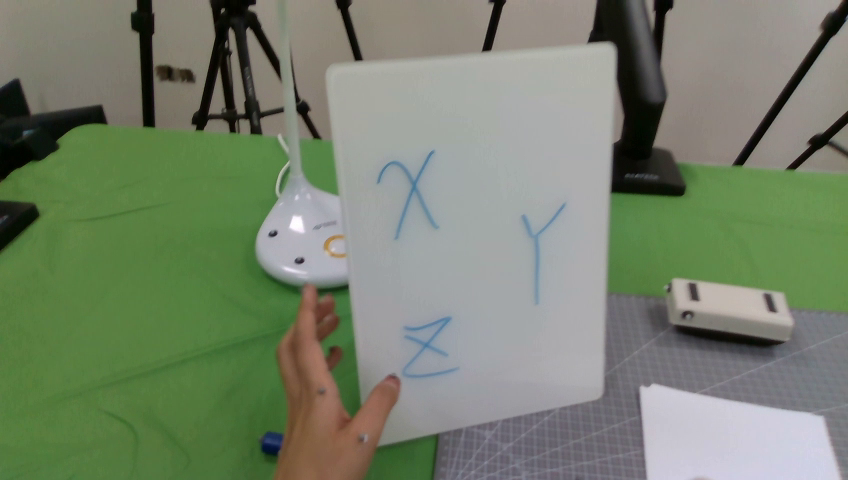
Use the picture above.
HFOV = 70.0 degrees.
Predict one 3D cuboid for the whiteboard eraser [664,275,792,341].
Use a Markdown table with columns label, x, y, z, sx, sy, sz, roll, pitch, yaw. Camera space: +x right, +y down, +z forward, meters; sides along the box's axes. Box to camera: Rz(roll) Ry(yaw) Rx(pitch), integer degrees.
| label | x | y | z | sx | sy | sz | roll | pitch | yaw |
| --- | --- | --- | --- | --- | --- | --- | --- | --- | --- |
| whiteboard eraser | 0.304 | 0.069 | 0.613 | 0.112 | 0.042 | 0.055 | 9 | 38 | 9 |

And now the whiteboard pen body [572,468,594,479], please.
| label | x | y | z | sx | sy | sz | roll | pitch | yaw |
| --- | --- | --- | --- | --- | --- | --- | --- | --- | --- |
| whiteboard pen body | 0.120 | 0.158 | 0.274 | 0.017 | 0.017 | 0.139 | -26 | 54 | -32 |

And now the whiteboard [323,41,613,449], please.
| label | x | y | z | sx | sy | sz | roll | pitch | yaw |
| --- | --- | --- | --- | --- | --- | --- | --- | --- | --- |
| whiteboard | 0.033 | -0.007 | 0.536 | 0.218 | 0.307 | 0.142 | -8 | 18 | -11 |

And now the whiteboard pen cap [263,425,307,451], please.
| label | x | y | z | sx | sy | sz | roll | pitch | yaw |
| --- | --- | --- | --- | --- | --- | --- | --- | --- | --- |
| whiteboard pen cap | -0.113 | 0.162 | 0.495 | 0.033 | 0.018 | 0.018 | 6 | 37 | 7 |

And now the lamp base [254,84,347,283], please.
| label | x | y | z | sx | sy | sz | roll | pitch | yaw |
| --- | --- | --- | --- | --- | --- | --- | --- | --- | --- |
| lamp base | -0.124 | -0.071 | 0.673 | 0.161 | 0.182 | 0.177 | -27 | 43 | -33 |
